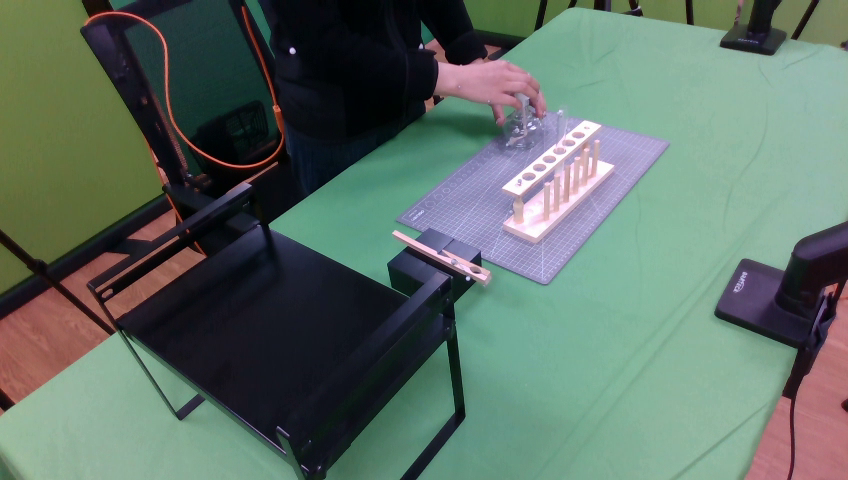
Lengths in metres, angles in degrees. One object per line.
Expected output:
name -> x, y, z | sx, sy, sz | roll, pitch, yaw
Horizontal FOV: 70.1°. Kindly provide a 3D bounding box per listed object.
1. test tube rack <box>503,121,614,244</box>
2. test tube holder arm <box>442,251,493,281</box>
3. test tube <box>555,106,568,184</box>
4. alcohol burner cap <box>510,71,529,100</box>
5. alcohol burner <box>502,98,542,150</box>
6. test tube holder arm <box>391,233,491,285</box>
test tube rack -> 0.230, -0.102, 1.006 | 0.066, 0.085, 0.243 | 26, 50, 34
test tube holder arm -> 0.059, 0.036, 0.851 | 0.087, 0.015, 0.010 | 23, 56, 32
test tube -> 0.224, -0.151, 0.987 | 0.017, 0.151, 0.017 | -4, 43, 5
alcohol burner cap -> 0.176, -0.284, 1.102 | 0.034, 0.048, 0.033 | 2, 37, -1
alcohol burner -> 0.186, -0.233, 1.147 | 0.078, 0.119, 0.077 | -5, 42, 5
test tube holder arm -> 0.020, 0.025, 0.872 | 0.177, 0.015, 0.013 | 22, 56, 32
